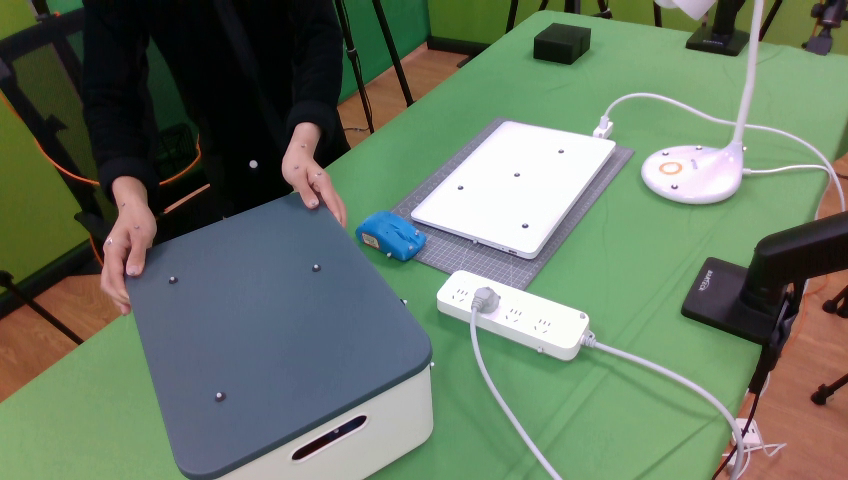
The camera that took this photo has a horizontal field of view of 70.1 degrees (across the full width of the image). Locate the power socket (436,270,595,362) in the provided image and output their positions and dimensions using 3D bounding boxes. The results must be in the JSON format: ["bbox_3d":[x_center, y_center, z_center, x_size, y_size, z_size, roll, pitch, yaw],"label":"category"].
[{"bbox_3d":[0.118,0.101,0.832,0.225,0.033,0.072,19,48,27],"label":"power socket"}]

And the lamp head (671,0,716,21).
[{"bbox_3d":[0.375,-0.373,0.807,0.122,0.113,0.112,-40,27,32],"label":"lamp head"}]

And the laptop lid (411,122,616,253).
[{"bbox_3d":[0.165,-0.111,1.067,0.240,0.013,0.357,19,46,31],"label":"laptop lid"}]

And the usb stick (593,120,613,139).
[{"bbox_3d":[0.336,-0.201,1.146,0.021,0.027,0.059,25,52,27],"label":"usb stick"}]

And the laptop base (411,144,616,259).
[{"bbox_3d":[0.168,-0.101,1.073,0.234,0.023,0.355,17,46,30],"label":"laptop base"}]

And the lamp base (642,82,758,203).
[{"bbox_3d":[0.464,-0.174,0.992,0.179,0.181,0.159,-5,41,-1],"label":"lamp base"}]

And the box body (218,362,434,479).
[{"bbox_3d":[-0.175,0.130,0.738,0.255,0.161,0.360,-25,43,-19],"label":"box body"}]

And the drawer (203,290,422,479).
[{"bbox_3d":[-0.136,0.188,0.740,0.195,0.073,0.210,-24,52,-22],"label":"drawer"}]

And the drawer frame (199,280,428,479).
[{"bbox_3d":[-0.134,0.176,0.729,0.202,0.083,0.211,-26,50,-19],"label":"drawer frame"}]

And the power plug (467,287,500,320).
[{"bbox_3d":[0.073,0.092,0.814,0.035,0.053,0.073,29,54,34],"label":"power plug"}]

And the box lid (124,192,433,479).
[{"bbox_3d":[-0.182,0.075,0.688,0.264,0.015,0.368,-24,43,-20],"label":"box lid"}]

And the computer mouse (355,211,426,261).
[{"bbox_3d":[-0.055,-0.010,0.979,0.116,0.041,0.063,27,49,28],"label":"computer mouse"}]
